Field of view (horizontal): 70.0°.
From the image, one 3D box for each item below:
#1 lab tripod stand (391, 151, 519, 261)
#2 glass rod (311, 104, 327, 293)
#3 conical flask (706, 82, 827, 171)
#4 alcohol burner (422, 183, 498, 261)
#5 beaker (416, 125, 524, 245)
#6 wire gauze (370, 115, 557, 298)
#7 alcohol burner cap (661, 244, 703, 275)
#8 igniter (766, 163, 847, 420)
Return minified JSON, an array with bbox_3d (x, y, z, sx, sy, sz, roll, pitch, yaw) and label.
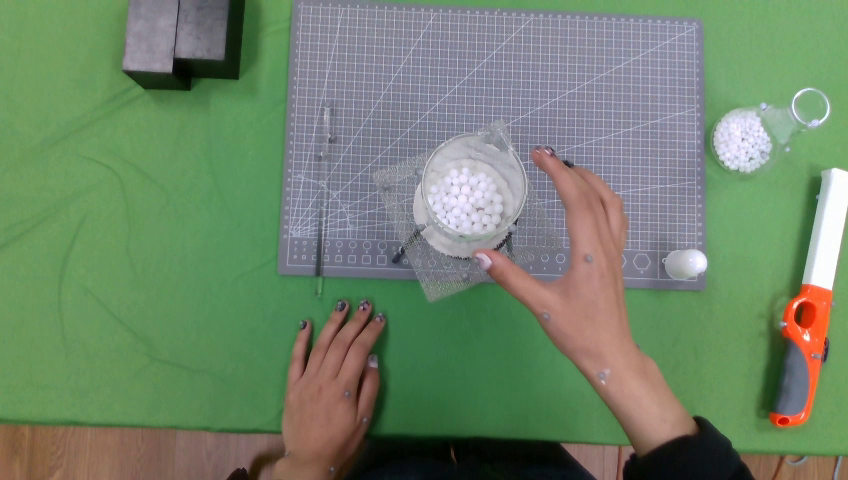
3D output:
[{"bbox_3d":[0.031,-0.022,0.575,0.148,0.131,0.148,0,86,-1],"label":"lab tripod stand"},{"bbox_3d":[-0.110,-0.045,0.635,0.008,0.008,0.199,3,87,-2],"label":"glass rod"},{"bbox_3d":[0.342,-0.117,0.601,0.075,0.122,0.075,0,84,-1],"label":"conical flask"},{"bbox_3d":[0.035,-0.020,0.585,0.078,0.119,0.077,0,83,1],"label":"alcohol burner"},{"bbox_3d":[0.032,-0.037,0.462,0.074,0.100,0.084,24,84,1],"label":"beaker"},{"bbox_3d":[0.034,-0.029,0.510,0.125,0.011,0.121,-23,88,-5],"label":"wire gauze"},{"bbox_3d":[0.269,0.019,0.624,0.034,0.048,0.034,0,85,-1],"label":"alcohol burner cap"},{"bbox_3d":[0.404,0.054,0.634,0.057,0.025,0.276,16,84,-10],"label":"igniter"}]
